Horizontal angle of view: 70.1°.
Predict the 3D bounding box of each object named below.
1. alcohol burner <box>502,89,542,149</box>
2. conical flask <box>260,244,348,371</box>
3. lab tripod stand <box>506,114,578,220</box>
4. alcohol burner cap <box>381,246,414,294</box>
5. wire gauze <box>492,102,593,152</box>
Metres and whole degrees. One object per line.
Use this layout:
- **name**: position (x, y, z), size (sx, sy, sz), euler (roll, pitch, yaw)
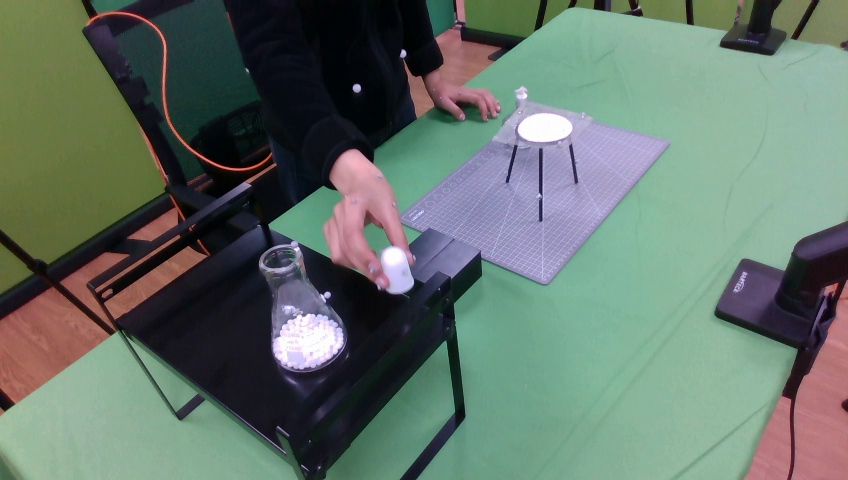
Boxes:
- **alcohol burner**: position (0.186, -0.235, 1.149), size (0.078, 0.119, 0.077), euler (-5, 42, 5)
- **conical flask**: position (-0.118, 0.060, 0.565), size (0.075, 0.122, 0.075), euler (-5, 40, 4)
- **lab tripod stand**: position (0.198, -0.128, 1.005), size (0.148, 0.132, 0.147), euler (-3, 42, 3)
- **alcohol burner cap**: position (-0.029, 0.028, 0.615), size (0.034, 0.048, 0.033), euler (-6, 35, 5)
- **wire gauze**: position (0.190, -0.180, 0.964), size (0.120, 0.011, 0.125), euler (19, 48, 27)
